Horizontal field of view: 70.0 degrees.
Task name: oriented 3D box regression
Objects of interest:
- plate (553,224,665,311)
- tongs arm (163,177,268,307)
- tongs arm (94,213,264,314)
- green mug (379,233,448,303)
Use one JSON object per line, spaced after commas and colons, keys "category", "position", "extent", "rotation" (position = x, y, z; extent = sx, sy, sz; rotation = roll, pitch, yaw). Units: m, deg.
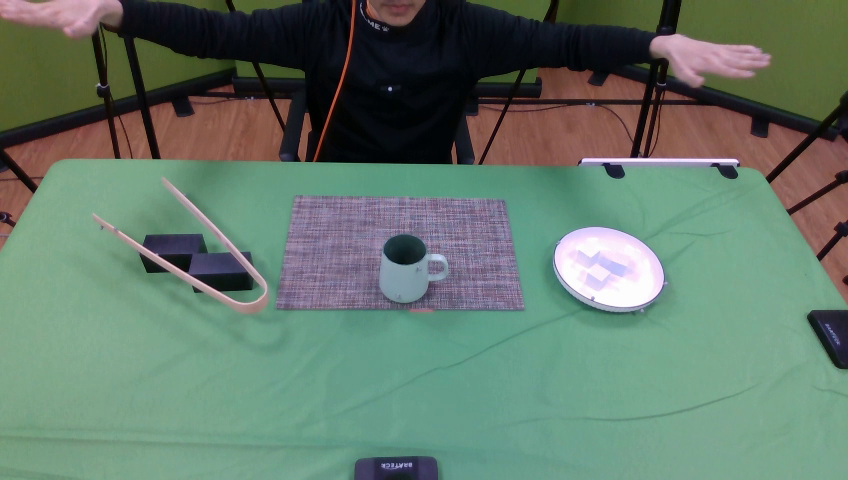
{"category": "plate", "position": [0.349, 0.055, 1.159], "extent": [0.209, 0.038, 0.208], "rotation": [2, 47, -2]}
{"category": "tongs arm", "position": [-0.387, -0.009, 1.107], "extent": [0.028, 0.028, 0.385], "rotation": [-27, 54, -35]}
{"category": "tongs arm", "position": [-0.437, 0.032, 1.062], "extent": [0.383, 0.026, 0.050], "rotation": [29, 48, 22]}
{"category": "green mug", "position": [-0.019, 0.050, 1.084], "extent": [0.125, 0.105, 0.092], "rotation": [-1, 46, -4]}
